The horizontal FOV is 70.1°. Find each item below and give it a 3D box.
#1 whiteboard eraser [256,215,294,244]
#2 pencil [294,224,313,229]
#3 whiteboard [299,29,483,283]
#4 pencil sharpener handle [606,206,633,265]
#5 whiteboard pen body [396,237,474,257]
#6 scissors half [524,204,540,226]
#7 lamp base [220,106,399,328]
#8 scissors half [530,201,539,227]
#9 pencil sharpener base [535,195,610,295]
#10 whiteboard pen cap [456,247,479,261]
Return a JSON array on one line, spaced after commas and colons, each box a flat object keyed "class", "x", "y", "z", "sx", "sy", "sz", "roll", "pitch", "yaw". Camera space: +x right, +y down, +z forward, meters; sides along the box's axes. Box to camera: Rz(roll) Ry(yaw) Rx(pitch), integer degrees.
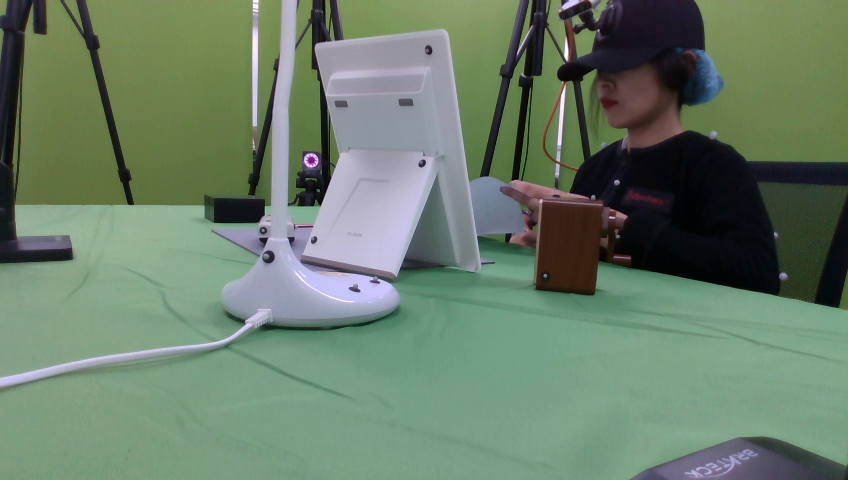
[{"class": "whiteboard eraser", "x": -0.232, "y": -0.016, "z": 0.951, "sx": 0.056, "sy": 0.042, "sz": 0.112, "roll": 2, "pitch": 7, "yaw": -12}, {"class": "pencil", "x": -0.220, "y": -0.028, "z": 1.210, "sx": 0.195, "sy": 0.012, "sz": 0.012, "roll": -5, "pitch": 10, "yaw": -34}, {"class": "whiteboard", "x": -0.074, "y": -0.082, "z": 0.742, "sx": 0.216, "sy": 0.305, "sz": 0.144, "roll": 9, "pitch": 30, "yaw": 38}, {"class": "pencil sharpener handle", "x": 0.222, "y": -0.004, "z": 0.683, "sx": 0.030, "sy": 0.068, "sz": 0.036, "roll": 5, "pitch": 21, "yaw": 16}, {"class": "whiteboard pen body", "x": 0.014, "y": 0.012, "z": 0.886, "sx": 0.140, "sy": 0.017, "sz": 0.017, "roll": 9, "pitch": 10, "yaw": 38}, {"class": "scissors half", "x": 0.201, "y": -0.050, "z": 1.115, "sx": 0.040, "sy": 0.013, "sz": 0.175, "roll": 47, "pitch": 2, "yaw": 8}, {"class": "lamp base", "x": -0.101, "y": -0.023, "z": 0.531, "sx": 0.160, "sy": 0.180, "sz": 0.179, "roll": 4, "pitch": 10, "yaw": 10}, {"class": "scissors half", "x": 0.214, "y": -0.034, "z": 1.108, "sx": 0.040, "sy": 0.013, "sz": 0.176, "roll": 54, "pitch": 5, "yaw": 32}, {"class": "pencil sharpener base", "x": 0.172, "y": 0.005, "z": 0.695, "sx": 0.076, "sy": 0.107, "sz": 0.061, "roll": 5, "pitch": 7, "yaw": 16}, {"class": "whiteboard pen cap", "x": 0.060, "y": 0.020, "z": 0.851, "sx": 0.033, "sy": 0.018, "sz": 0.018, "roll": 10, "pitch": 10, "yaw": 37}]
